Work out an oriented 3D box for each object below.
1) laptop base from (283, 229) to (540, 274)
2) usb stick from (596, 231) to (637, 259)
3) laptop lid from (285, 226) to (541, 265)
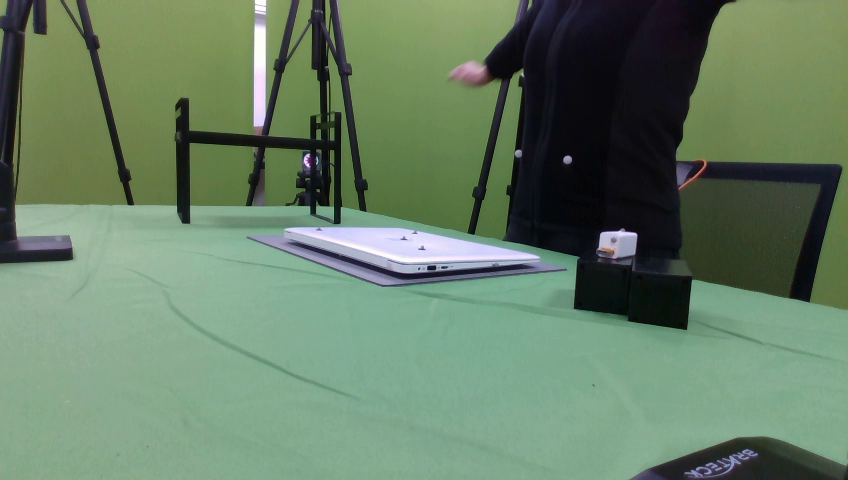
[{"bbox_3d":[-0.033,0.014,0.896,0.237,0.023,0.352,1,7,-37],"label":"laptop base"},{"bbox_3d":[0.197,0.005,0.625,0.021,0.027,0.059,10,13,42],"label":"usb stick"},{"bbox_3d":[-0.031,0.002,0.896,0.243,0.013,0.355,0,8,-35],"label":"laptop lid"}]
